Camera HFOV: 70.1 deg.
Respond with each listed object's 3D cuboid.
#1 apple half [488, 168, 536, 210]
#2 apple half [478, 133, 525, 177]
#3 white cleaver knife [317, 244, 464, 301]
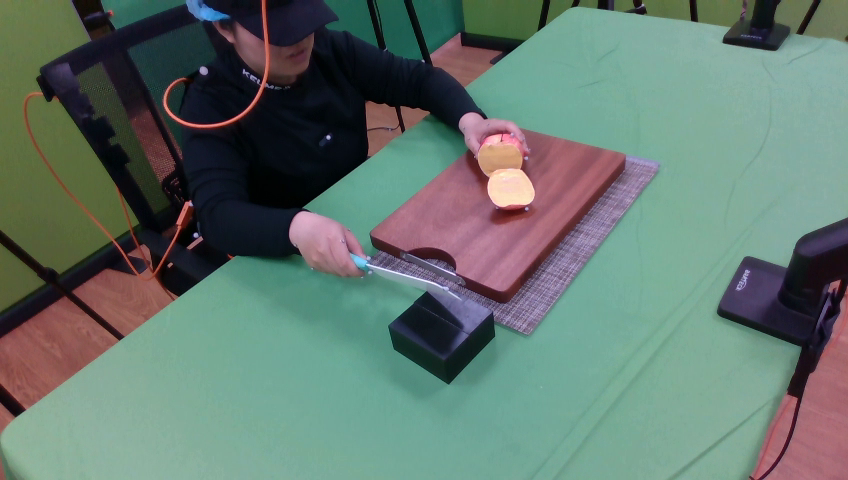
[{"bbox_3d":[0.142,-0.080,0.995,0.081,0.033,0.081,1,62,-1],"label":"apple half"},{"bbox_3d":[0.139,-0.151,1.055,0.080,0.075,0.053,1,36,18],"label":"apple half"},{"bbox_3d":[-0.060,0.049,0.865,0.284,0.066,0.021,15,71,45],"label":"white cleaver knife"}]
